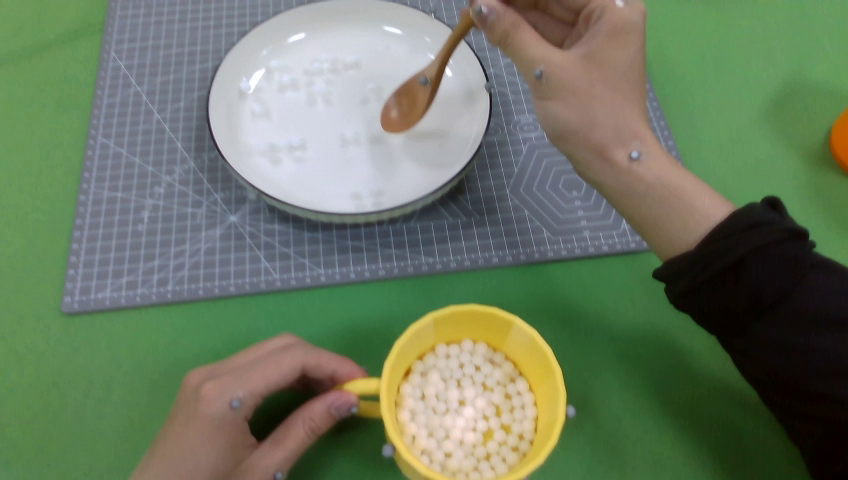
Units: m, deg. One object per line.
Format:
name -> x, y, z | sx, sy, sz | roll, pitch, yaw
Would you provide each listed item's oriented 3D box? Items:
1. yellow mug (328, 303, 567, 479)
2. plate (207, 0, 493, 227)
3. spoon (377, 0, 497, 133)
yellow mug -> 0.010, 0.094, 0.347 | 0.131, 0.064, 0.099 | 2, 62, 0
plate -> -0.053, -0.096, 0.457 | 0.208, 0.039, 0.206 | 1, 62, -2
spoon -> 0.022, -0.124, 0.369 | 0.022, 0.194, 0.041 | 8, 63, -28
